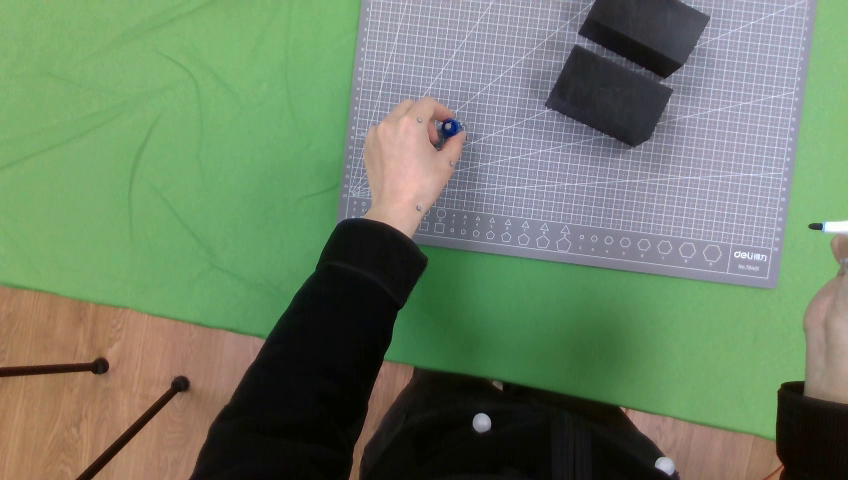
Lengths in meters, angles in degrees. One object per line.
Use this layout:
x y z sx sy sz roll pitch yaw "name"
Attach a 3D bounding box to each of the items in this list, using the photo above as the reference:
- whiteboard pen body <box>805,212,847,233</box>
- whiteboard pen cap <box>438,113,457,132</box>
0.315 -0.008 0.374 0.140 0.017 0.017 4 91 19 "whiteboard pen body"
0.024 -0.117 0.599 0.018 0.033 0.018 2 107 9 "whiteboard pen cap"
